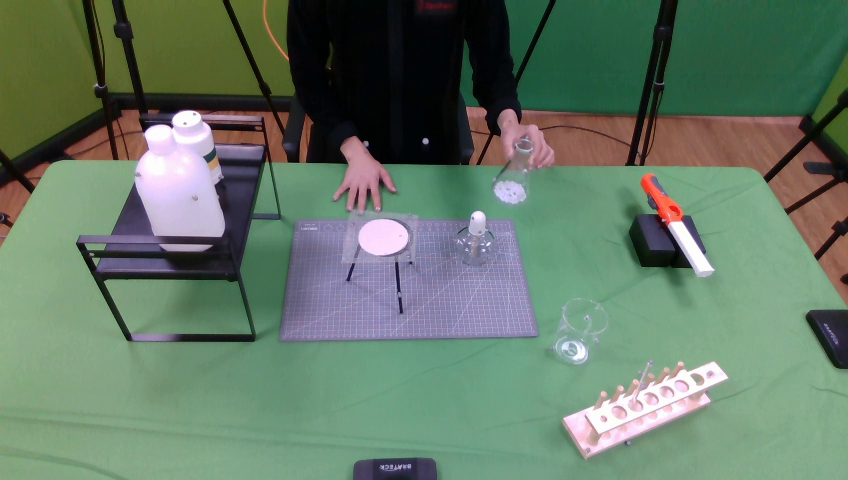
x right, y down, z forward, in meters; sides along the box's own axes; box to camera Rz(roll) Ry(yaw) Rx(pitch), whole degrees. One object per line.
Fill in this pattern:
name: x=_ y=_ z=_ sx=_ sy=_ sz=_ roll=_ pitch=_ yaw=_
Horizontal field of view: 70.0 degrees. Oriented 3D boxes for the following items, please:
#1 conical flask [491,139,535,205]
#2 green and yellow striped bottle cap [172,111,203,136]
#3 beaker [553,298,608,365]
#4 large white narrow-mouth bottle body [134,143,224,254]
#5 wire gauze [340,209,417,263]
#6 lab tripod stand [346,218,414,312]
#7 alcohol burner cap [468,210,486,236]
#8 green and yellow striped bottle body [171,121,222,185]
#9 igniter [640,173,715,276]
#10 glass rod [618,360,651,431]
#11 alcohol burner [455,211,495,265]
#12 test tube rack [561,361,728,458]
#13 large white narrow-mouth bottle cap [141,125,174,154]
conical flask: x=0.172 y=-0.128 z=1.122 sx=0.075 sy=0.122 sz=0.075 roll=5 pitch=48 yaw=-6
green and yellow striped bottle cap: x=-0.374 y=-0.185 z=0.958 sx=0.045 sy=0.020 sz=0.045 roll=4 pitch=46 yaw=-4
beaker: x=0.260 y=0.154 z=1.015 sx=0.073 sy=0.101 sz=0.084 roll=37 pitch=54 yaw=27
large white narrow-mouth bottle body: x=-0.358 y=-0.076 z=0.875 sx=0.102 sy=0.195 sz=0.101 roll=1 pitch=48 yaw=-1
wire gauze: x=-0.074 y=-0.006 z=1.023 sx=0.121 sy=0.011 sz=0.124 roll=3 pitch=46 yaw=0
lab tripod stand: x=-0.070 y=0.037 z=1.075 sx=0.148 sy=0.132 sz=0.147 roll=1 pitch=47 yaw=-1
alcohol burner cap: x=0.100 y=-0.034 z=1.119 sx=0.034 sy=0.048 sz=0.033 roll=0 pitch=52 yaw=0
green and yellow striped bottle body: x=-0.375 y=-0.149 z=0.995 sx=0.063 sy=0.120 sz=0.063 roll=2 pitch=46 yaw=-2
igniter: x=0.495 y=-0.039 z=1.204 sx=0.057 sy=0.025 sz=0.274 roll=-2 pitch=47 yaw=-13
glass rod: x=0.298 y=0.227 z=0.865 sx=0.008 sy=0.201 sz=0.008 roll=-2 pitch=47 yaw=2
alcohol burner: x=0.097 y=-0.010 z=1.147 sx=0.078 sy=0.120 sz=0.077 roll=1 pitch=47 yaw=-1
test tube rack: x=0.341 y=0.248 z=0.940 sx=0.243 sy=0.085 sz=0.066 roll=-15 pitch=49 yaw=-18
large white narrow-mouth bottle cap: x=-0.356 y=-0.134 z=0.811 sx=0.038 sy=0.024 sz=0.037 roll=2 pitch=48 yaw=-2
